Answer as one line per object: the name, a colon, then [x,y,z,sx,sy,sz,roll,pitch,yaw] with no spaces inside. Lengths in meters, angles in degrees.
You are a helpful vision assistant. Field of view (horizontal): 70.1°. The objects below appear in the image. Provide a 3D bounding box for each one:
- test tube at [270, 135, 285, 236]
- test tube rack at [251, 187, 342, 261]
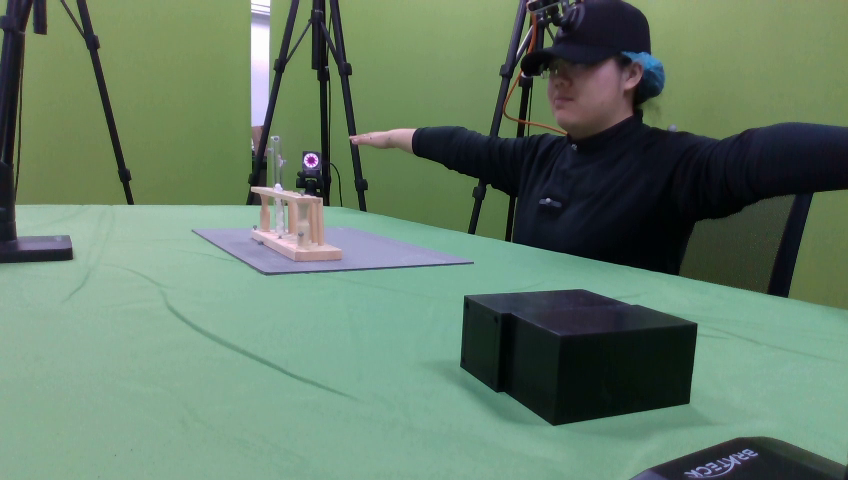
test tube: [-0.218,-0.081,0.904,0.017,0.150,0.017,-2,4,0]
test tube rack: [-0.196,-0.030,0.902,0.067,0.085,0.241,-1,8,-29]
